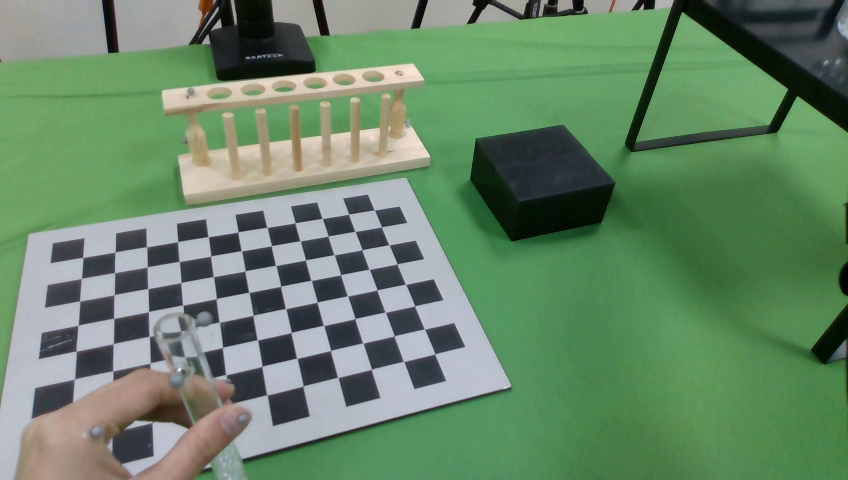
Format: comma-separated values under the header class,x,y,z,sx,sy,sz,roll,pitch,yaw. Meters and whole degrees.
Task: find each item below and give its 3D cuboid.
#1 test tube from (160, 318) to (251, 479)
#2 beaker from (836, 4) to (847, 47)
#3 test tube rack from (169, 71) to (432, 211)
class,x,y,z,sx,sy,sz,roll,pitch,yaw
test tube,-0.102,0.093,0.296,0.017,0.151,0.017,1,41,0
beaker,0.360,-0.190,0.444,0.074,0.101,0.083,-25,51,-30
test tube rack,-0.113,-0.101,0.598,0.243,0.086,0.066,-11,45,-17
